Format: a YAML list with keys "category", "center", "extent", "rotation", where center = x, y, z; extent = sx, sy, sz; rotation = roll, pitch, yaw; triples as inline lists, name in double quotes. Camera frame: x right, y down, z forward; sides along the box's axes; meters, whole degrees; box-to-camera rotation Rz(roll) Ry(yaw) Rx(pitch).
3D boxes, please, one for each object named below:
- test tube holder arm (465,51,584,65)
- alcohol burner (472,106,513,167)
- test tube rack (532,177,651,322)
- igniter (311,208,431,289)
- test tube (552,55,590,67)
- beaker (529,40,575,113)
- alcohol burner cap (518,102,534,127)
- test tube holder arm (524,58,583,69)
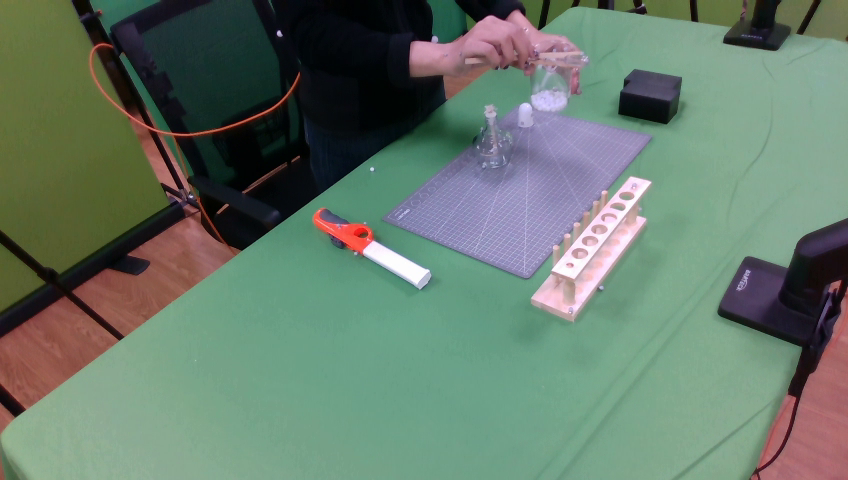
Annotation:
- category: "test tube holder arm"
  center: [0.147, -0.264, 0.878]
  extent: [0.179, 0.013, 0.015]
  rotation: [-6, 21, -12]
- category: "alcohol burner"
  center: [0.126, -0.194, 1.111]
  extent: [0.078, 0.119, 0.077]
  rotation: [-5, 42, 5]
- category: "test tube rack"
  center: [0.248, 0.002, 0.883]
  extent: [0.066, 0.085, 0.243]
  rotation: [22, 49, 32]
- category: "igniter"
  center: [-0.096, 0.008, 0.985]
  extent: [0.274, 0.025, 0.057]
  rotation: [28, 62, 36]
- category: "test tube"
  center: [0.213, -0.267, 0.896]
  extent: [0.017, 0.017, 0.149]
  rotation: [-12, 19, -3]
- category: "beaker"
  center: [0.213, -0.271, 1.018]
  extent: [0.074, 0.101, 0.083]
  rotation: [2, 48, 11]
- category: "alcohol burner cap"
  center: [0.205, -0.255, 1.223]
  extent: [0.034, 0.048, 0.033]
  rotation: [-6, 41, 5]
- category: "test tube holder arm"
  center: [0.191, -0.262, 0.890]
  extent: [0.088, 0.010, 0.015]
  rotation: [2, 20, -15]
